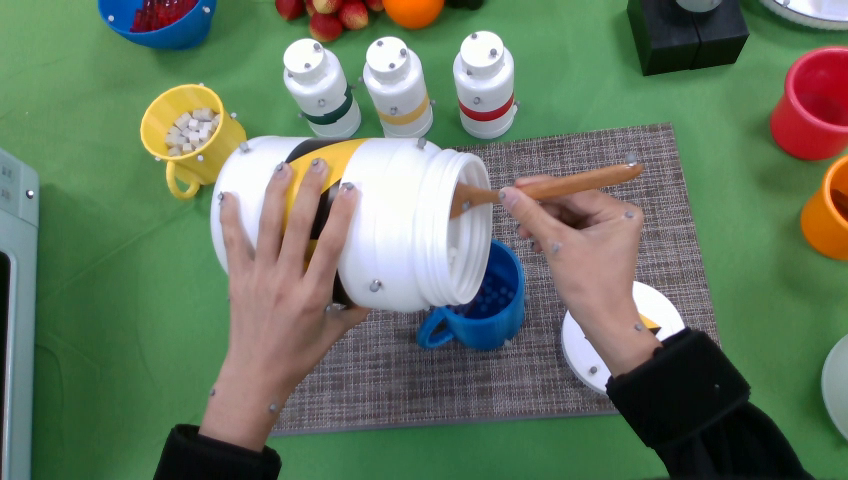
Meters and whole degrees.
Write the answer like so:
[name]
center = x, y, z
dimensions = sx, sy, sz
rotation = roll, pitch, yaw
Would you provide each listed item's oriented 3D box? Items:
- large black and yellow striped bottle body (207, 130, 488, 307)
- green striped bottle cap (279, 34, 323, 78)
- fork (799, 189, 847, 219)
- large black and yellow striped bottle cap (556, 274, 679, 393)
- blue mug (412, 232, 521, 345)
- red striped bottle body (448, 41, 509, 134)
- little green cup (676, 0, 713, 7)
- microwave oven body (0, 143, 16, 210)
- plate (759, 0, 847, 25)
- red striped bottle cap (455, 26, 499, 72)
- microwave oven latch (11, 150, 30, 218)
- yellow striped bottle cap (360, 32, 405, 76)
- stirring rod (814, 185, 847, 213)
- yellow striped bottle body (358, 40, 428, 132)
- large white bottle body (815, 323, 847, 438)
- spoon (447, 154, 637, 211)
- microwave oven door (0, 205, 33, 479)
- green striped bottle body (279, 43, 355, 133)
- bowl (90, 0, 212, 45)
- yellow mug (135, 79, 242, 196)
[large black and yellow striped bottle body]
center = -0.053, -0.018, 0.464
dimensions = 0.183, 0.132, 0.130
rotation = 5, 70, 21
[green striped bottle cap]
center = -0.128, -0.191, 0.628
dimensions = 0.044, 0.020, 0.044
rotation = -3, 67, 8
[fork]
center = 0.426, -0.016, 0.523
dimensions = 0.028, 0.019, 0.205
rotation = -35, 24, -11
[large black and yellow striped bottle cap]
center = 0.186, 0.089, 0.587
dimensions = 0.115, 0.019, 0.114
rotation = -3, 68, 7
[blue mug]
center = 0.037, 0.058, 0.572
dimensions = 0.116, 0.106, 0.081
rotation = -38, 68, -7
[red striped bottle body]
center = 0.060, -0.171, 0.650
dimensions = 0.063, 0.120, 0.062
rotation = -3, 68, 7
[little green cup]
center = 0.293, -0.282, 0.646
dimensions = 0.061, 0.039, 0.061
rotation = -2, 67, 6
[microwave oven body]
center = -0.603, 0.099, 0.565
dimensions = 0.326, 0.262, 0.438
rotation = -14, 69, 2
[plate]
center = 0.460, -0.329, 0.694
dimensions = 0.209, 0.038, 0.207
rotation = -2, 70, 7
[red striped bottle cap]
center = 0.053, -0.190, 0.600
dimensions = 0.044, 0.018, 0.044
rotation = -1, 68, 4
[microwave oven latch]
center = -0.483, -0.063, 0.711
dimensions = 0.030, 0.030, 0.078
rotation = -13, 69, 3
[yellow striped bottle cap]
center = -0.042, -0.189, 0.614
dimensions = 0.044, 0.019, 0.044
rotation = -1, 66, 3
[stirring rod]
center = 0.397, -0.015, 0.535
dimensions = 0.014, 0.006, 0.175
rotation = -3, 26, 4
[yellow striped bottle body]
center = -0.034, -0.171, 0.663
dimensions = 0.063, 0.121, 0.062
rotation = -3, 69, 8
[large white bottle body]
center = 0.408, 0.102, 0.463
dimensions = 0.130, 0.186, 0.129
rotation = -3, 69, 8
[spoon]
center = 0.060, -0.040, 0.440
dimensions = 0.192, 0.042, 0.021
rotation = -1, 39, 44
[microwave oven door]
center = -0.453, 0.100, 0.538
dimensions = 0.039, 0.245, 0.353
rotation = -15, 68, 3
[green striped bottle body]
center = -0.120, -0.173, 0.676
dimensions = 0.063, 0.120, 0.062
rotation = -2, 69, 7
[bowl]
center = -0.333, -0.307, 0.778
dimensions = 0.151, 0.077, 0.150
rotation = -2, 70, 7
[yellow mug]
center = -0.276, -0.114, 0.705
dimensions = 0.100, 0.064, 0.130
rotation = 4, 71, 10
